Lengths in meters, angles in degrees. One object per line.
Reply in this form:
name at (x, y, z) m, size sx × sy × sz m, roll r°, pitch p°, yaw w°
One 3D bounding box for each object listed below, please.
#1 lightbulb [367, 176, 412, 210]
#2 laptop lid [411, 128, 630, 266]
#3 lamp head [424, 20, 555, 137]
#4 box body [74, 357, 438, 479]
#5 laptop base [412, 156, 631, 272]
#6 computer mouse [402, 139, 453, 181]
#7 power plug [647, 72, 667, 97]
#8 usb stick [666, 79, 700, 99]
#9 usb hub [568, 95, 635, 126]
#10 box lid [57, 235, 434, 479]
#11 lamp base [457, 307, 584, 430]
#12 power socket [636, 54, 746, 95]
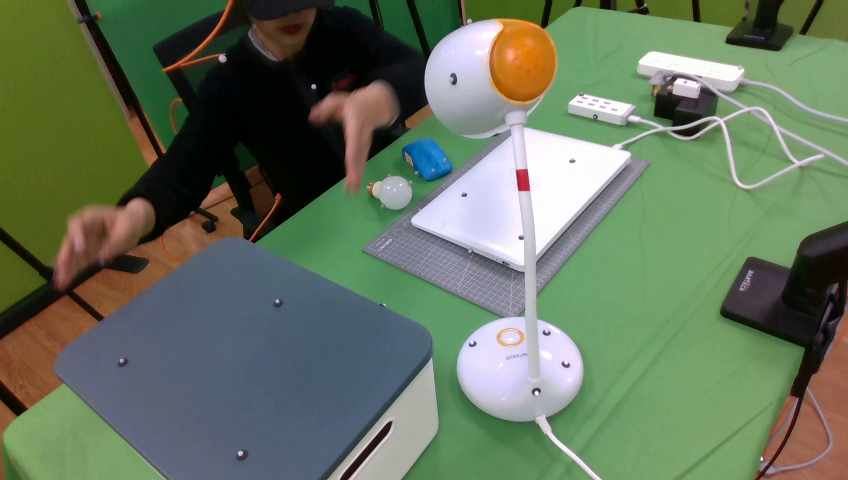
lightbulb at (-0.066, -0.086, 1.084) m, size 0.060 × 0.060 × 0.107 m, roll -38°, pitch 32°, yaw -30°
laptop lid at (0.172, -0.093, 1.049) m, size 0.239 × 0.013 × 0.358 m, roll 23°, pitch 49°, yaw 36°
lamp head at (0.069, -0.153, 0.572) m, size 0.113 × 0.112 × 0.122 m, roll -21°, pitch 16°, yaw -14°
box body at (-0.189, 0.178, 0.702) m, size 0.361 × 0.161 × 0.255 m, roll 22°, pitch 49°, yaw 32°
laptop base at (0.176, -0.084, 1.055) m, size 0.233 × 0.023 × 0.355 m, roll 21°, pitch 48°, yaw 36°
computer mouse at (0.005, -0.159, 1.165) m, size 0.063 × 0.041 × 0.116 m, roll -21°, pitch 45°, yaw -17°
power plug at (0.494, -0.321, 1.261) m, size 0.073 × 0.052 × 0.035 m, roll 0°, pitch 21°, yaw -40°
usb stick at (0.492, -0.288, 1.152) m, size 0.058 × 0.027 × 0.021 m, roll 20°, pitch 50°, yaw 34°
usb hub at (0.360, -0.263, 1.228) m, size 0.124 × 0.025 × 0.049 m, roll 24°, pitch 49°, yaw 34°
box lid at (-0.198, 0.123, 0.653) m, size 0.368 × 0.015 × 0.264 m, roll 21°, pitch 49°, yaw 32°
lamp base at (0.116, 0.108, 0.713) m, size 0.161 × 0.181 × 0.178 m, roll -16°, pitch 43°, yaw -8°
power socket at (0.564, -0.357, 1.293) m, size 0.225 × 0.033 × 0.072 m, roll 24°, pitch 51°, yaw 33°
